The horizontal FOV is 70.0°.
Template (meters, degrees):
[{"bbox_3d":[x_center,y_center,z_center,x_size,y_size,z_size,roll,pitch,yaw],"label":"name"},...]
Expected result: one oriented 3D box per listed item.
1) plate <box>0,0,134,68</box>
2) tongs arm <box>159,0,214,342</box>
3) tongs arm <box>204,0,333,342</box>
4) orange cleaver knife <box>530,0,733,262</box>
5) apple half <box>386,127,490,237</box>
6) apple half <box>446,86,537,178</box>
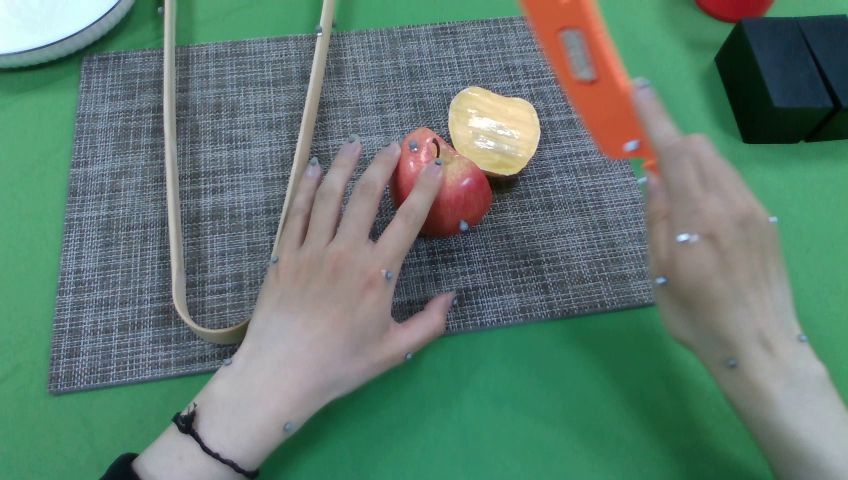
[{"bbox_3d":[-0.359,-0.230,0.547,0.209,0.038,0.207,1,63,-2],"label":"plate"},{"bbox_3d":[-0.199,-0.100,0.493,0.028,0.028,0.384,-8,64,-11],"label":"tongs arm"},{"bbox_3d":[-0.115,-0.104,0.497,0.051,0.027,0.381,3,64,-2],"label":"tongs arm"},{"bbox_3d":[0.127,-0.077,0.382,0.012,0.077,0.212,-35,100,-12],"label":"orange cleaver knife"},{"bbox_3d":[0.003,-0.034,0.445,0.080,0.075,0.053,41,72,14],"label":"apple half"},{"bbox_3d":[0.050,-0.083,0.495,0.081,0.033,0.081,3,75,-11],"label":"apple half"}]
